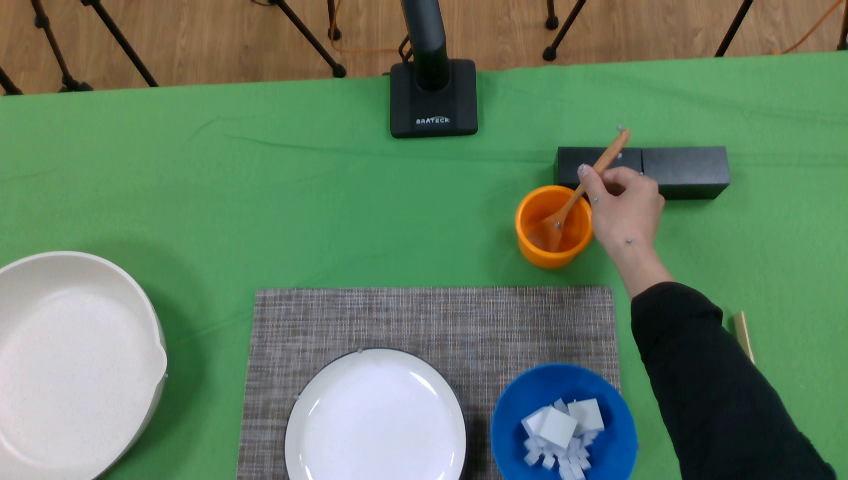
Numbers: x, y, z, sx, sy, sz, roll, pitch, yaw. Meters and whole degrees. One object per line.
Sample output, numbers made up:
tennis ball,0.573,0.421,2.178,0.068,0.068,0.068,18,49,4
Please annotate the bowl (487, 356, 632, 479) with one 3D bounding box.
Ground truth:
bowl,0.143,0.207,0.663,0.151,0.077,0.150,-1,73,4

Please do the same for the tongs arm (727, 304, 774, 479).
tongs arm,0.385,0.259,0.662,0.028,0.028,0.385,-6,73,1

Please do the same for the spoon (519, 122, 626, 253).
spoon,0.173,-0.057,0.708,0.041,0.194,0.022,46,38,17

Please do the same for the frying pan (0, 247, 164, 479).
frying pan,-0.447,0.248,0.686,0.307,0.103,0.483,-3,64,4

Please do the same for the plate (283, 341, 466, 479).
plate,-0.055,0.221,0.696,0.207,0.039,0.206,-1,73,4
